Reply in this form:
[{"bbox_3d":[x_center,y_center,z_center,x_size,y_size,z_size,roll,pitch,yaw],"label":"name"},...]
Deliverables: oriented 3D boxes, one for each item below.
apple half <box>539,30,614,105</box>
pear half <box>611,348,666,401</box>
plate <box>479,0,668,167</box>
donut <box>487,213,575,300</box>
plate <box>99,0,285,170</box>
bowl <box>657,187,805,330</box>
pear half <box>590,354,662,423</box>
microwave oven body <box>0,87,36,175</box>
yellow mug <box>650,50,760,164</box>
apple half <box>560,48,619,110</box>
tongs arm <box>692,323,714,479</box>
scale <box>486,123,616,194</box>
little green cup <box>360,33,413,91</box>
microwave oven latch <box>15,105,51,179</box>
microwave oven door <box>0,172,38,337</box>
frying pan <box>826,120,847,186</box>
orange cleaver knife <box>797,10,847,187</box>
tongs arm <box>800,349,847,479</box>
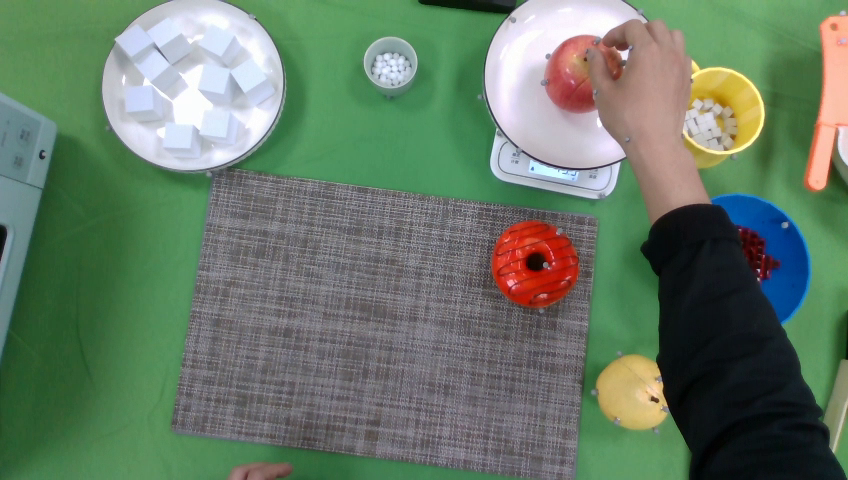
[{"bbox_3d":[0.156,-0.191,0.653,0.081,0.075,0.053,-42,83,-2],"label":"apple half"},{"bbox_3d":[0.236,0.138,0.649,0.070,0.088,0.031,38,85,7],"label":"pear half"},{"bbox_3d":[0.164,-0.181,0.678,0.209,0.038,0.208,0,84,-1],"label":"plate"},{"bbox_3d":[0.119,0.019,0.679,0.099,0.048,0.099,0,84,2],"label":"donut"},{"bbox_3d":[-0.262,-0.180,0.701,0.208,0.039,0.207,0,84,-1],"label":"plate"},{"bbox_3d":[0.323,0.023,0.669,0.151,0.077,0.151,0,85,-1],"label":"bowl"},{"bbox_3d":[0.211,0.163,0.636,0.076,0.110,0.056,39,85,8],"label":"pear half"},{"bbox_3d":[-0.616,0.026,0.557,0.326,0.260,0.440,10,84,0],"label":"microwave oven body"},{"bbox_3d":[0.311,-0.157,0.694,0.100,0.064,0.130,-25,84,-3],"label":"yellow mug"},{"bbox_3d":[0.183,-0.163,0.650,0.081,0.081,0.032,-44,82,-5],"label":"apple half"},{"bbox_3d":[0.318,0.284,0.664,0.051,0.026,0.384,7,86,-3],"label":"tongs arm"},{"bbox_3d":[0.162,-0.163,0.709,0.149,0.031,0.200,12,84,1],"label":"scale"},{"bbox_3d":[-0.042,-0.205,0.707,0.061,0.039,0.061,0,84,0],"label":"little green cup"},{"bbox_3d":[-0.441,-0.110,0.671,0.030,0.029,0.079,12,84,0],"label":"microwave oven latch"},{"bbox_3d":[-0.480,0.093,0.547,0.039,0.244,0.355,10,83,1],"label":"microwave oven door"},{"bbox_3d":[0.623,-0.051,0.668,0.307,0.103,0.485,-19,77,-2],"label":"frying pan"},{"bbox_3d":[0.453,-0.156,0.659,0.077,0.012,0.211,12,84,3],"label":"orange cleaver knife"},{"bbox_3d":[0.403,0.302,0.666,0.028,0.028,0.387,22,86,-5],"label":"tongs arm"}]
